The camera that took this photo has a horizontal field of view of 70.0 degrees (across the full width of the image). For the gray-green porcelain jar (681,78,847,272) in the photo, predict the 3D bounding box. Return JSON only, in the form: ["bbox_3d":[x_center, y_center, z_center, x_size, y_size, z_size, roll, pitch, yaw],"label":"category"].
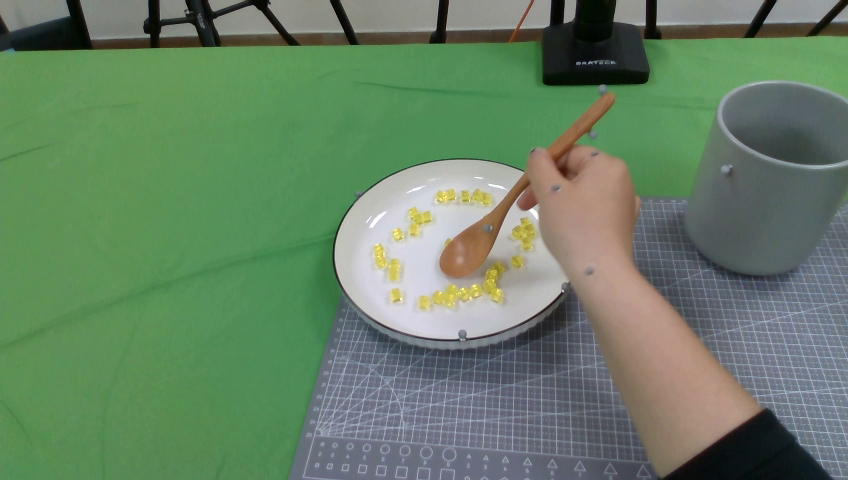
[{"bbox_3d":[0.268,-0.045,0.480,0.106,0.128,0.105,-3,48,4],"label":"gray-green porcelain jar"}]

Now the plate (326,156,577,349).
[{"bbox_3d":[0.023,0.009,0.518,0.207,0.039,0.205,-3,48,3],"label":"plate"}]

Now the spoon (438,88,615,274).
[{"bbox_3d":[0.075,-0.041,0.471,0.022,0.194,0.041,16,36,-37],"label":"spoon"}]
